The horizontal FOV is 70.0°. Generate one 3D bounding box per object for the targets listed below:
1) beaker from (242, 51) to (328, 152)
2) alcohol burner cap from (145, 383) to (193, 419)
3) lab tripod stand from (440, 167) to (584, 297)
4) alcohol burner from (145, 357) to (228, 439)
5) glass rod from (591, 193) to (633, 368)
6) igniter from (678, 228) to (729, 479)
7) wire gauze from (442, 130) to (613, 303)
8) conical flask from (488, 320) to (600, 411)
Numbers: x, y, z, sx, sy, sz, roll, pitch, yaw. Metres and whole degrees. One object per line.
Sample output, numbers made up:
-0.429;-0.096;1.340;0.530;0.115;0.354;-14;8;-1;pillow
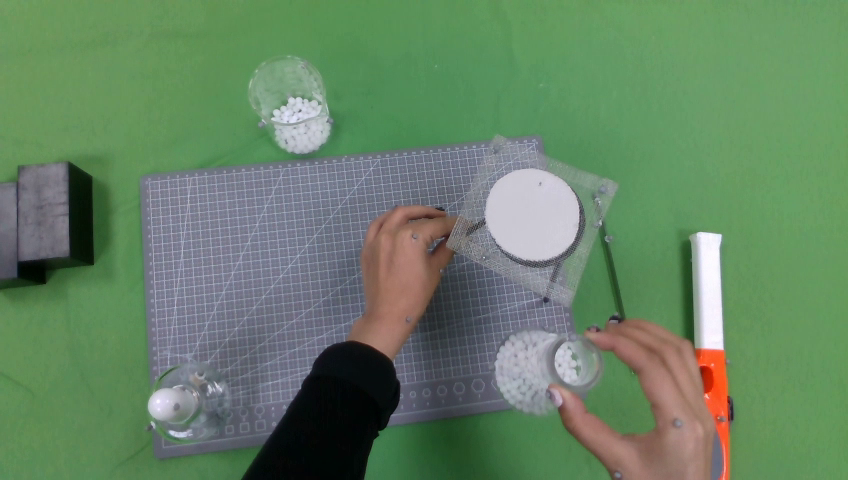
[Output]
-0.138;-0.140;0.640;0.084;0.100;0.074;29;79;2;beaker
-0.227;0.141;0.535;0.034;0.048;0.033;2;72;-5;alcohol burner cap
0.093;-0.010;0.610;0.148;0.132;0.148;0;81;-2;lab tripod stand
-0.229;0.149;0.570;0.078;0.119;0.077;0;80;-2;alcohol burner
0.208;0.043;0.674;0.008;0.008;0.199;-8;80;-5;glass rod
0.301;0.123;0.655;0.057;0.025;0.275;6;79;-13;igniter
0.094;-0.024;0.544;0.125;0.011;0.121;25;81;2;wire gauze
0.095;0.092;0.458;0.075;0.122;0.075;1;76;-4;conical flask
